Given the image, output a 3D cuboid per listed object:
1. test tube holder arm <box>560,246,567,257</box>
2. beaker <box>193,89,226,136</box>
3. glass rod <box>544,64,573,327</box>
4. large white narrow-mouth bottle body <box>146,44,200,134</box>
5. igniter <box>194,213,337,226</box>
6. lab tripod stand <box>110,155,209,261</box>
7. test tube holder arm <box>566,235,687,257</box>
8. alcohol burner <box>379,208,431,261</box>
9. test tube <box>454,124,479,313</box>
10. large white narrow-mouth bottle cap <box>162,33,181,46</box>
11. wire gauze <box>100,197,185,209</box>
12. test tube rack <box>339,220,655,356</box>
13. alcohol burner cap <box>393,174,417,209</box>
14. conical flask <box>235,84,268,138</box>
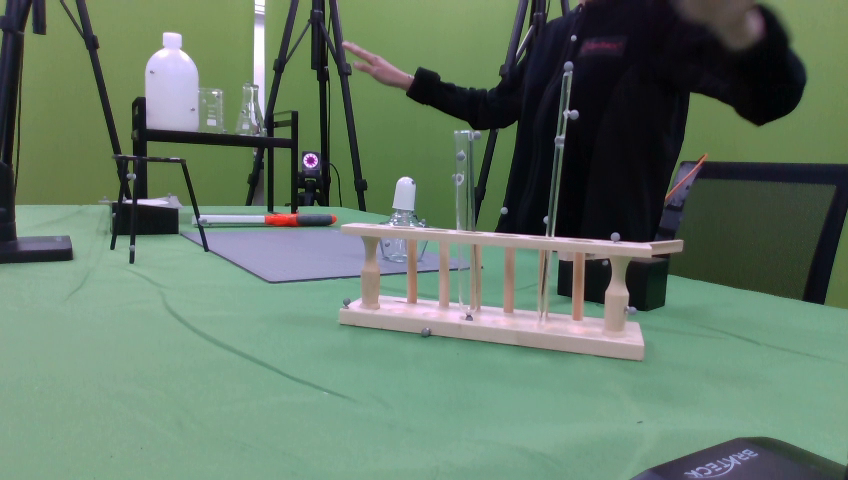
[{"bbox_3d":[0.173,0.007,0.611,0.088,0.015,0.010,-3,9,-30],"label":"test tube holder arm"},{"bbox_3d":[-0.485,-0.284,1.353,0.073,0.100,0.084,8,10,42],"label":"beaker"},{"bbox_3d":[0.101,-0.028,0.453,0.008,0.199,0.008,2,14,0],"label":"glass rod"},{"bbox_3d":[-0.512,-0.318,1.234,0.102,0.194,0.102,2,7,0],"label":"large white narrow-mouth bottle body"},{"bbox_3d":[-0.306,-0.041,1.197,0.278,0.025,0.057,-2,-2,-30],"label":"igniter"},{"bbox_3d":[-0.361,-0.046,0.806,0.148,0.131,0.148,2,5,0],"label":"lab tripod stand"},{"bbox_3d":[0.215,0.006,0.630,0.179,0.015,0.013,-3,9,-31],"label":"test tube holder arm"},{"bbox_3d":[-0.027,-0.031,0.838,0.078,0.119,0.078,0,6,0],"label":"alcohol burner"},{"bbox_3d":[0.034,-0.015,0.477,0.017,0.150,0.017,-2,9,1],"label":"test tube"},{"bbox_3d":[-0.510,-0.403,1.224,0.038,0.024,0.037,2,7,0],"label":"large white narrow-mouth bottle cap"},{"bbox_3d":[-0.469,-0.062,1.008,0.126,0.011,0.121,-2,8,-25],"label":"wire gauze"},{"bbox_3d":[0.056,0.032,0.495,0.242,0.085,0.067,4,7,15],"label":"test tube rack"},{"bbox_3d":[-0.025,-0.067,0.834,0.034,0.048,0.034,8,7,-1],"label":"alcohol burner cap"},{"bbox_3d":[-0.401,-0.299,1.406,0.075,0.122,0.075,2,7,0],"label":"conical flask"}]
